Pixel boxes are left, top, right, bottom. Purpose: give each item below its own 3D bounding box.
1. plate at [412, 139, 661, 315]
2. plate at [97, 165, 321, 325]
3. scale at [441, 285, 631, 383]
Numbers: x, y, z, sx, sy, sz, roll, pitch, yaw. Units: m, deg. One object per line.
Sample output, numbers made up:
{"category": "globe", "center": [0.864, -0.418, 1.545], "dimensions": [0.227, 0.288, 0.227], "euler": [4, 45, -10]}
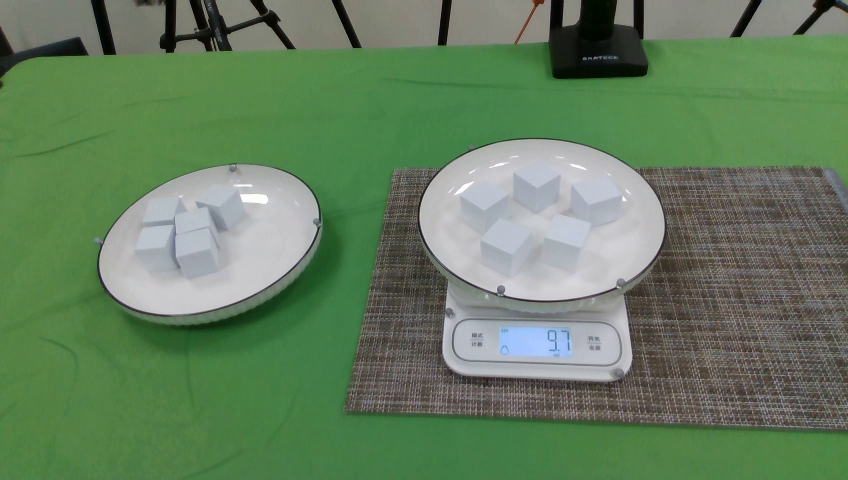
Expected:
{"category": "plate", "center": [0.094, -0.012, 0.528], "dimensions": [0.207, 0.039, 0.205], "euler": [-2, 45, 2]}
{"category": "plate", "center": [-0.201, 0.004, 0.588], "dimensions": [0.209, 0.038, 0.207], "euler": [-2, 44, 3]}
{"category": "scale", "center": [0.095, 0.031, 0.531], "dimensions": [0.148, 0.032, 0.199], "euler": [1, 45, 7]}
